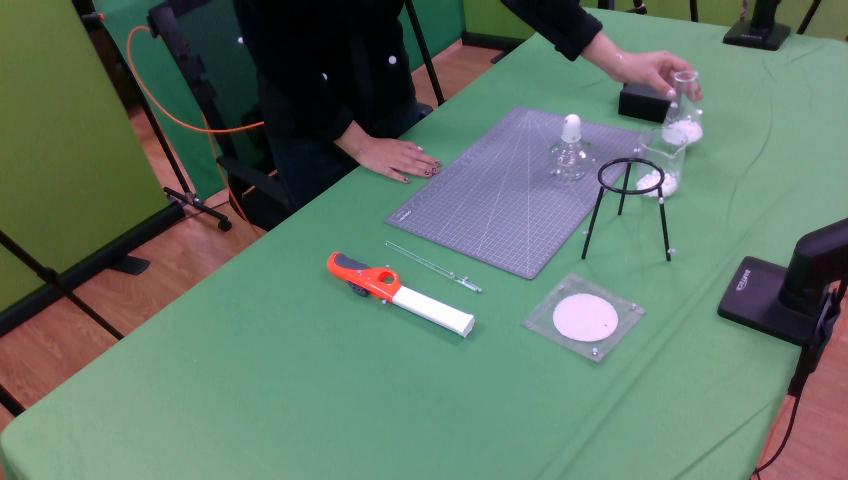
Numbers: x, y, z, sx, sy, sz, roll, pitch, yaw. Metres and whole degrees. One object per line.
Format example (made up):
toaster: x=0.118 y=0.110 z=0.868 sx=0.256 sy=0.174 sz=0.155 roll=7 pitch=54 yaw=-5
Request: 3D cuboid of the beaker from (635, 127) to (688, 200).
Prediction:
beaker: x=0.388 y=-0.122 z=0.994 sx=0.074 sy=0.101 sz=0.083 roll=-8 pitch=40 yaw=2

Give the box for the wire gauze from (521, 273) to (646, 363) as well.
wire gauze: x=0.219 y=0.105 z=0.830 sx=0.120 sy=0.011 sz=0.125 roll=28 pitch=54 yaw=37

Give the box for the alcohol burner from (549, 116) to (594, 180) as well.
alcohol burner: x=0.258 y=-0.166 z=1.055 sx=0.078 sy=0.120 sz=0.077 roll=-6 pitch=42 yaw=6

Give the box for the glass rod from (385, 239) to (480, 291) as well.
glass rod: x=0.009 y=0.037 z=0.950 sx=0.198 sy=0.008 sz=0.008 roll=26 pitch=52 yaw=34

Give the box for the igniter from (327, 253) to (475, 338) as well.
igniter: x=-0.045 y=0.077 z=0.898 sx=0.274 sy=0.025 sz=0.057 roll=22 pitch=60 yaw=32

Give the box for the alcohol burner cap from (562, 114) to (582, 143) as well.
alcohol burner cap: x=0.253 y=-0.191 z=1.030 sx=0.034 sy=0.048 sz=0.033 roll=-4 pitch=50 yaw=6

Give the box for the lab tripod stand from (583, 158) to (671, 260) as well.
lab tripod stand: x=0.300 y=-0.046 z=0.895 sx=0.148 sy=0.132 sz=0.147 roll=-7 pitch=38 yaw=6

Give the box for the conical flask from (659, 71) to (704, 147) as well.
conical flask: x=0.450 y=-0.230 z=1.053 sx=0.075 sy=0.122 sz=0.075 roll=-10 pitch=40 yaw=9
